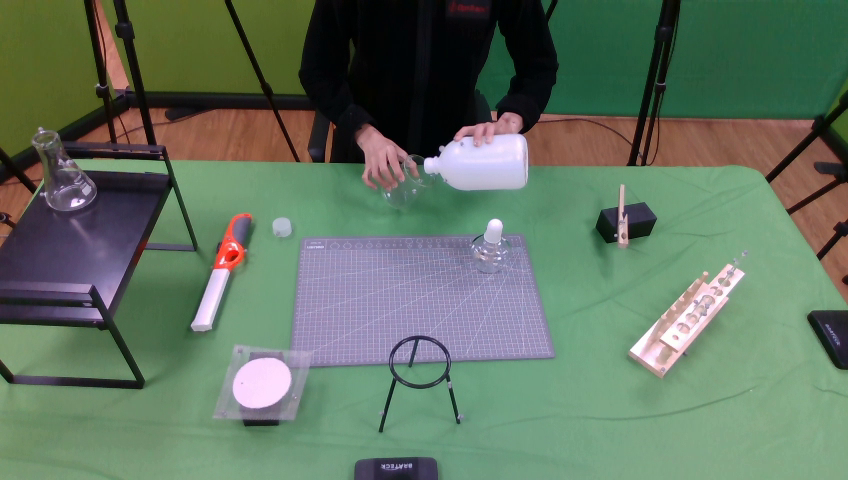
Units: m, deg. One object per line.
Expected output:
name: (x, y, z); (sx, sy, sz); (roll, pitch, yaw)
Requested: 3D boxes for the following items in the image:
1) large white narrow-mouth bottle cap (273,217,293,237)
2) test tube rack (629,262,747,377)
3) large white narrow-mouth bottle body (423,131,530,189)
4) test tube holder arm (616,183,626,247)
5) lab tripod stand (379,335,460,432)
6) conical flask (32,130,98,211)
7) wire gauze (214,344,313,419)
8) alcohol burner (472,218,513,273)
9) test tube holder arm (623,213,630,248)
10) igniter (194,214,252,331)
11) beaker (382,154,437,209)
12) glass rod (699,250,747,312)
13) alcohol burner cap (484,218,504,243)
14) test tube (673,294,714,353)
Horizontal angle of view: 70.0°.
large white narrow-mouth bottle cap: (-0.281, -0.026, 1.204); (0.038, 0.024, 0.037); (2, 46, -2)
test tube rack: (0.464, 0.126, 1.060); (0.242, 0.085, 0.066); (-34, 56, -31)
large white narrow-mouth bottle body: (0.095, -0.146, 1.135); (0.194, 0.102, 0.101); (-1, 44, 17)
test tube holder arm: (0.394, -0.054, 1.210); (0.013, 0.015, 0.177); (15, 47, -3)
lab tripod stand: (-0.011, 0.214, 0.911); (0.148, 0.132, 0.147); (1, 45, 0)
conical flask: (-0.565, -0.110, 0.944); (0.075, 0.122, 0.075); (2, 46, -2)
wire gauze: (-0.241, 0.213, 0.915); (0.121, 0.011, 0.124); (5, 46, 1)
alcohol burner: (0.128, 0.005, 1.132); (0.078, 0.120, 0.077); (0, 47, 0)
test tube holder arm: (0.392, -0.020, 1.180); (0.010, 0.015, 0.087); (16, 47, -2)
igniter: (-0.367, 0.050, 1.119); (0.057, 0.025, 0.275); (-4, 45, 7)
beaker: (-0.031, -0.113, 1.208); (0.084, 0.100, 0.073); (0, 63, -38)
glass rod: (0.500, 0.074, 1.021); (0.008, 0.201, 0.008); (0, 55, 1)
alcohol burner cap: (0.130, -0.021, 1.106); (0.034, 0.048, 0.033); (3, 51, -4)
test tube: (0.428, 0.137, 0.978); (0.017, 0.151, 0.017); (4, 47, -4)
